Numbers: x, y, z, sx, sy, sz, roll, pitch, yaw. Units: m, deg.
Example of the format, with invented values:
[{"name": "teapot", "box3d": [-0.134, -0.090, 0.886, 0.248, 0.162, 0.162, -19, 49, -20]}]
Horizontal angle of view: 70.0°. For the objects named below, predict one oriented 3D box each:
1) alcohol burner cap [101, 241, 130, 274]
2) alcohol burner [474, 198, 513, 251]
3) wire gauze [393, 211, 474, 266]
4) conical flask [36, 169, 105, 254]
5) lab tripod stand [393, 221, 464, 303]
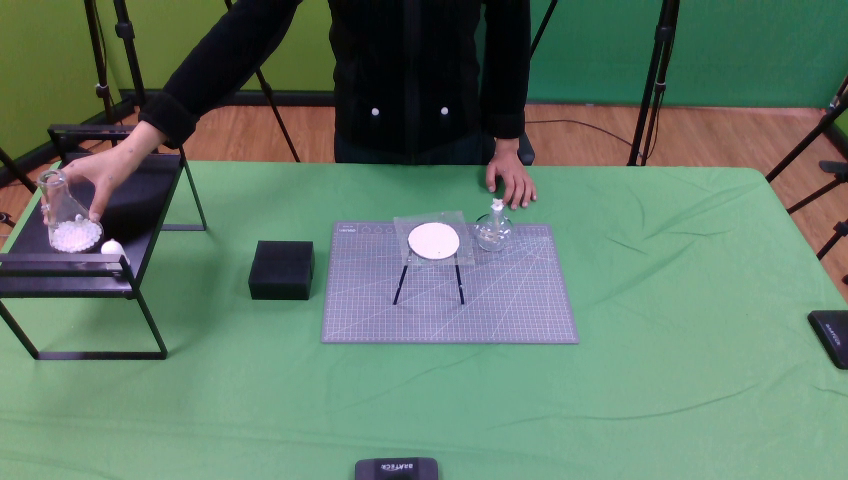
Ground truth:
[{"name": "alcohol burner cap", "box3d": [-0.449, 0.022, 0.878, 0.034, 0.048, 0.033, 3, 45, -2]}, {"name": "alcohol burner", "box3d": [0.137, -0.035, 1.176, 0.078, 0.120, 0.077, 1, 47, -1]}, {"name": "wire gauze", "box3d": [0.015, -0.003, 1.028, 0.125, 0.011, 0.120, -4, 47, -7]}, {"name": "conical flask", "box3d": [-0.520, -0.044, 0.879, 0.075, 0.122, 0.075, 2, 44, -2]}, {"name": "lab tripod stand", "box3d": [0.009, 0.045, 1.075, 0.148, 0.132, 0.147, 2, 48, -2]}]
